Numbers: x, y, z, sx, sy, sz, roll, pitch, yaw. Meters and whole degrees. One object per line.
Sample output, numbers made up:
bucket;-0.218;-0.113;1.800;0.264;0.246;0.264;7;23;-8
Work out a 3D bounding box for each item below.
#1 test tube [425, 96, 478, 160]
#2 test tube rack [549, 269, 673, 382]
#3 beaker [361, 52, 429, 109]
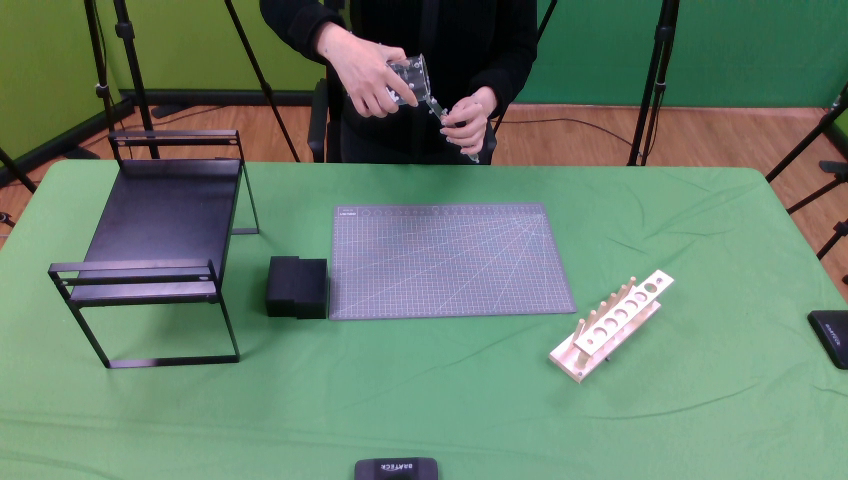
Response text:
test tube;0.051;-0.191;1.046;0.017;0.151;0.017;-27;38;24
test tube rack;0.325;0.134;1.047;0.242;0.085;0.066;-32;56;-30
beaker;-0.045;-0.254;0.984;0.100;0.084;0.073;-8;47;7
